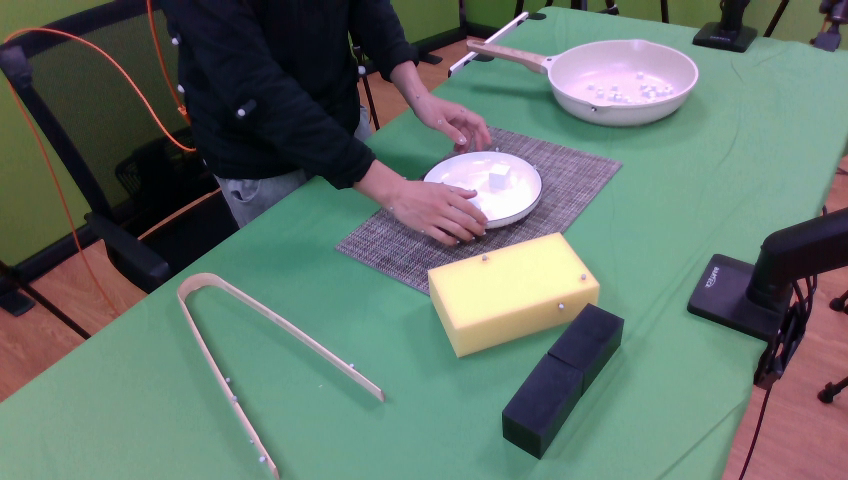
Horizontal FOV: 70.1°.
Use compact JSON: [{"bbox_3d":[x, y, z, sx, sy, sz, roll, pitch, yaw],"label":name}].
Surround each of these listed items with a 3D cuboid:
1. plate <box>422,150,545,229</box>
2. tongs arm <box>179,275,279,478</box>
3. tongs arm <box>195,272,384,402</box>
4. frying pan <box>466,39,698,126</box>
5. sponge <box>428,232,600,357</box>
[{"bbox_3d":[0.101,-0.082,1.031,0.207,0.039,0.206,-4,40,4],"label":"plate"},{"bbox_3d":[-0.260,0.161,0.807,0.051,0.026,0.381,-29,44,-25],"label":"tongs arm"},{"bbox_3d":[-0.199,0.125,0.846,0.384,0.028,0.028,25,53,32],"label":"tongs arm"},{"bbox_3d":[0.312,-0.359,1.277,0.485,0.103,0.307,23,47,19],"label":"frying pan"},{"bbox_3d":[0.120,0.071,0.834,0.207,0.061,0.117,-15,43,-12],"label":"sponge"}]
